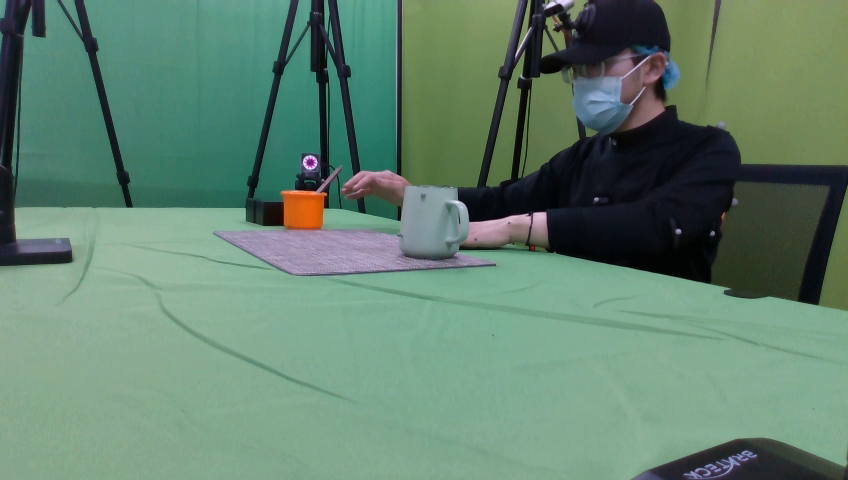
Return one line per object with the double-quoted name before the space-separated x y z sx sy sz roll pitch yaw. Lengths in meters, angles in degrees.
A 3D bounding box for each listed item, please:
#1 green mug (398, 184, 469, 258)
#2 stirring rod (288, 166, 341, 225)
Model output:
"green mug" 0.020 -0.028 0.890 0.093 0.105 0.124 -4 9 -41
"stirring rod" -0.222 -0.093 1.238 0.014 0.006 0.176 6 49 41
